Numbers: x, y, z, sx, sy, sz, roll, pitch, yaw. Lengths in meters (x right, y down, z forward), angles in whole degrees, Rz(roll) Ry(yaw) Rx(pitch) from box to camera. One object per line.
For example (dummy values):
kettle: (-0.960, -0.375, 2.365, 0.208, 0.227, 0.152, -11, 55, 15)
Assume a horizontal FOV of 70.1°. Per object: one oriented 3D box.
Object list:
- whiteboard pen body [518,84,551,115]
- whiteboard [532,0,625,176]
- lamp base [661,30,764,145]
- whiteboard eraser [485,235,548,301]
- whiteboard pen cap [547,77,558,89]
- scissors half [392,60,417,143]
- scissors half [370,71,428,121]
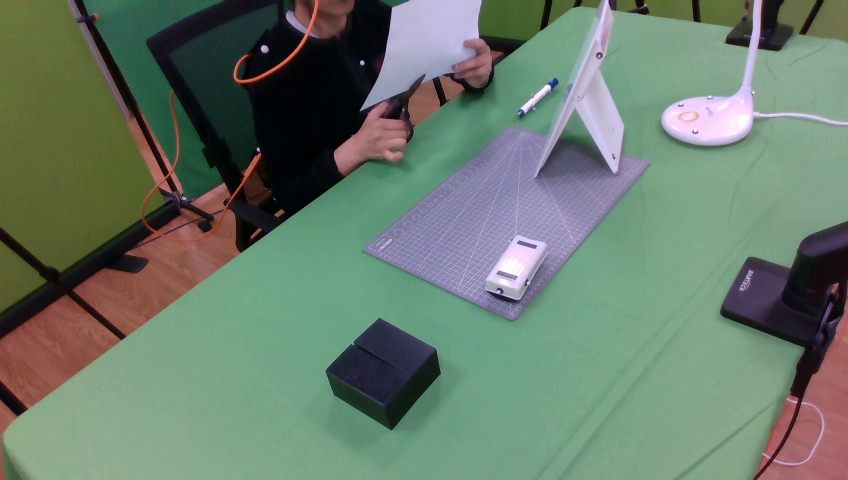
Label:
whiteboard pen body: (0.242, -0.306, 1.290, 0.017, 0.017, 0.141, 24, 52, 33)
whiteboard: (0.320, -0.259, 1.050, 0.144, 0.306, 0.217, 21, 45, 5)
lamp base: (0.535, -0.287, 1.096, 0.179, 0.181, 0.159, -10, 40, -4)
whiteboard eraser: (0.137, 0.042, 0.887, 0.055, 0.042, 0.113, 15, 45, 27)
whiteboard pen cap: (0.279, -0.341, 1.321, 0.018, 0.018, 0.033, 22, 51, 31)
scissors half: (-0.031, -0.255, 1.131, 0.040, 0.175, 0.013, 29, 43, 18)
scissors half: (-0.048, -0.273, 1.134, 0.174, 0.040, 0.013, -22, 11, 46)
